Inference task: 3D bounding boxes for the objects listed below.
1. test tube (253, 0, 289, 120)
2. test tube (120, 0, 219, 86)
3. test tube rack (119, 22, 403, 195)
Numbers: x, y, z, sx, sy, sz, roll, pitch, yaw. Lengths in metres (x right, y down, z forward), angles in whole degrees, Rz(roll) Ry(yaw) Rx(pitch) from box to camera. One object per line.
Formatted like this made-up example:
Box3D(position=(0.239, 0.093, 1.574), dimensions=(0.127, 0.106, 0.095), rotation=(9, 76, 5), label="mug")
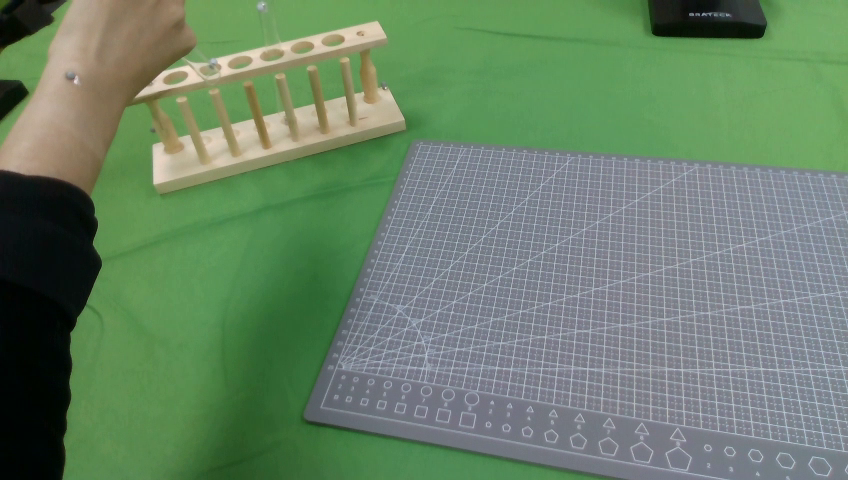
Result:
Box3D(position=(-0.141, -0.179, 0.556), dimensions=(0.017, 0.151, 0.017), rotation=(-1, 40, 1), label="test tube")
Box3D(position=(-0.207, -0.169, 0.462), dimensions=(0.017, 0.152, 0.017), rotation=(-7, 65, 16), label="test tube")
Box3D(position=(-0.148, -0.127, 0.578), dimensions=(0.243, 0.086, 0.066), rotation=(-17, 48, -9), label="test tube rack")
